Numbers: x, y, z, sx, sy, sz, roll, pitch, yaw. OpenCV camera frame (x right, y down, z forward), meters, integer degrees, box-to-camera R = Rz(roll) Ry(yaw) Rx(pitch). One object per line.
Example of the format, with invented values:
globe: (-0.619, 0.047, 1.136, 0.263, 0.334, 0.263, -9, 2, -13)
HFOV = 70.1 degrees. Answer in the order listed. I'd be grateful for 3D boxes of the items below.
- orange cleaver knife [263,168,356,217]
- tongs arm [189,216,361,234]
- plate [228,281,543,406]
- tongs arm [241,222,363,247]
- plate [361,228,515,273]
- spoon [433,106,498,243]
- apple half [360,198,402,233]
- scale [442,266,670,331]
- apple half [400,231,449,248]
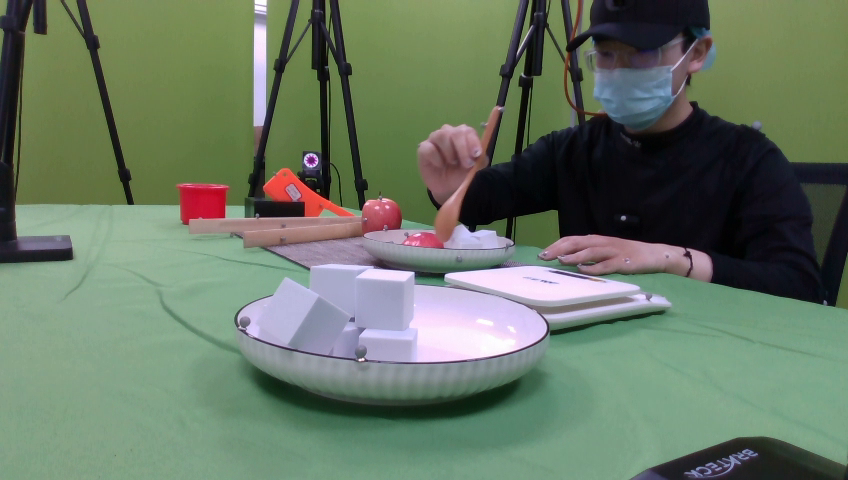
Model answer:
orange cleaver knife: (-0.240, -0.077, 1.294, 0.212, 0.077, 0.012, 32, -7, -26)
tongs arm: (-0.220, -0.028, 1.088, 0.387, 0.026, 0.050, -3, 8, -43)
plate: (-0.025, 0.067, 0.413, 0.208, 0.039, 0.207, 3, 7, 0)
tongs arm: (-0.159, -0.016, 1.034, 0.028, 0.028, 0.389, 2, 6, 33)
plate: (0.018, 0.013, 0.818, 0.209, 0.038, 0.209, 2, 7, 0)
spoon: (0.056, -0.086, 0.786, 0.022, 0.193, 0.041, 31, -10, -36)
apple half: (-0.066, -0.032, 1.014, 0.053, 0.074, 0.081, 9, 6, 20)
scale: (0.131, 0.052, 0.603, 0.202, 0.031, 0.148, -3, 9, -37)
apple half: (0.002, 0.005, 0.843, 0.081, 0.033, 0.081, 1, 4, 0)
